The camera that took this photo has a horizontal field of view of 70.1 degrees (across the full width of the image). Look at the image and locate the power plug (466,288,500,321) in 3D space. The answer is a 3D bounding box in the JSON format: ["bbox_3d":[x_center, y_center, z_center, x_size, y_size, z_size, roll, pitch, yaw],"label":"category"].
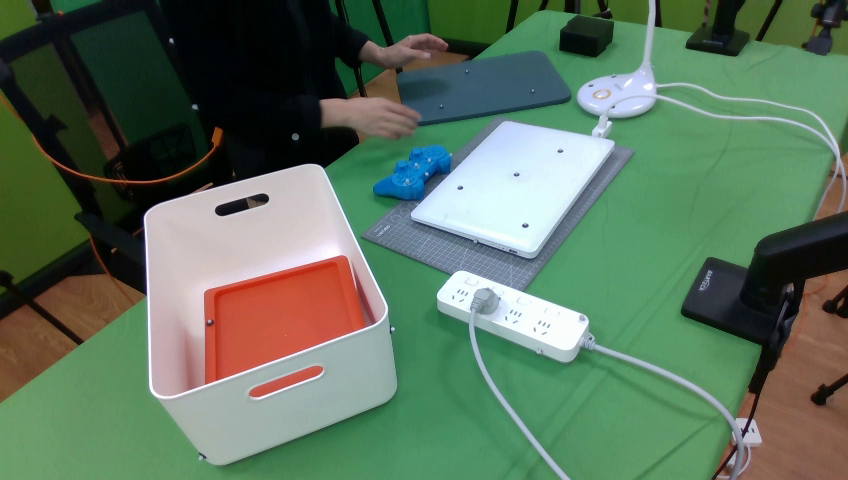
[{"bbox_3d":[0.072,0.093,0.813,0.073,0.053,0.035,-36,48,-28],"label":"power plug"}]

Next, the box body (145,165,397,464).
[{"bbox_3d":[-0.205,0.080,0.802,0.255,0.161,0.361,-18,41,-13],"label":"box body"}]

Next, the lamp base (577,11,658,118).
[{"bbox_3d":[0.406,-0.363,1.223,0.180,0.181,0.159,-20,42,-18],"label":"lamp base"}]

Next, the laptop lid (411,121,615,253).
[{"bbox_3d":[0.164,-0.112,1.068,0.240,0.013,0.357,19,46,31],"label":"laptop lid"}]

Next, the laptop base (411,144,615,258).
[{"bbox_3d":[0.167,-0.102,1.074,0.234,0.023,0.355,16,45,30],"label":"laptop base"}]

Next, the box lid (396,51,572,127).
[{"bbox_3d":[0.128,-0.350,1.380,0.372,0.015,0.261,-10,41,-2],"label":"box lid"}]

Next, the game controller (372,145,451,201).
[{"bbox_3d":[-0.018,-0.130,1.111,0.096,0.052,0.155,22,49,26],"label":"game controller"}]

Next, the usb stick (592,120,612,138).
[{"bbox_3d":[0.335,-0.203,1.149,0.021,0.027,0.059,25,53,26],"label":"usb stick"}]

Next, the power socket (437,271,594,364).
[{"bbox_3d":[0.118,0.102,0.830,0.225,0.033,0.072,20,48,28],"label":"power socket"}]
